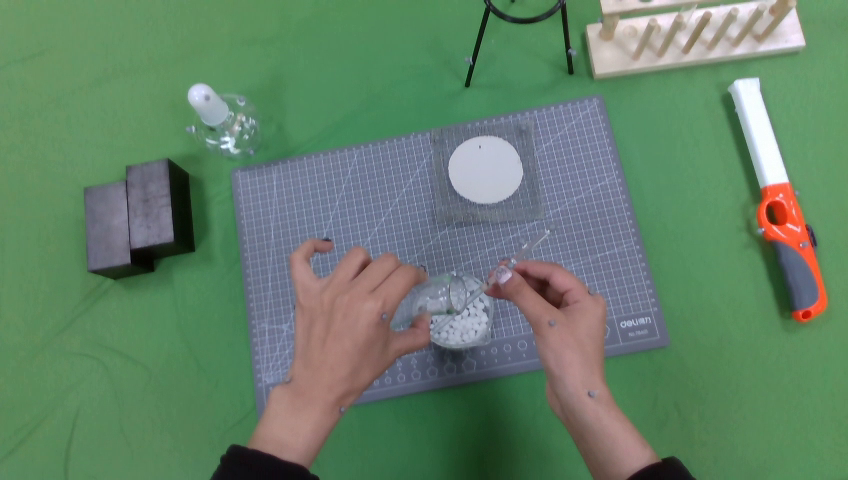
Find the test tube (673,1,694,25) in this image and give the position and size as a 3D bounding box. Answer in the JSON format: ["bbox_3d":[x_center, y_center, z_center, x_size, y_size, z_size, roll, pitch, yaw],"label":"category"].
[{"bbox_3d":[0.287,-0.274,0.640,0.017,0.151,0.017,-2,77,7],"label":"test tube"}]

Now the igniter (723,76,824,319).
[{"bbox_3d":[0.381,-0.052,0.663,0.057,0.025,0.275,-7,77,-7],"label":"igniter"}]

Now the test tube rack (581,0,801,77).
[{"bbox_3d":[0.310,-0.251,0.684,0.242,0.085,0.066,-8,76,3],"label":"test tube rack"}]

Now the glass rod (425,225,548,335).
[{"bbox_3d":[0.048,0.042,0.538,0.008,0.200,0.008,17,51,-22],"label":"glass rod"}]

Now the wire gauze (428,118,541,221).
[{"bbox_3d":[0.069,-0.081,0.701,0.125,0.011,0.121,-3,77,1],"label":"wire gauze"}]

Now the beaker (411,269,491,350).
[{"bbox_3d":[0.033,0.077,0.620,0.083,0.101,0.074,42,84,12],"label":"beaker"}]

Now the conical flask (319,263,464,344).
[{"bbox_3d":[-0.026,0.052,0.539,0.121,0.076,0.075,-8,75,28],"label":"conical flask"}]

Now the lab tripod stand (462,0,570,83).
[{"bbox_3d":[0.101,-0.245,0.674,0.148,0.132,0.147,-1,79,5],"label":"lab tripod stand"}]

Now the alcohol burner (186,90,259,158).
[{"bbox_3d":[-0.234,-0.139,0.686,0.078,0.119,0.077,-1,78,6],"label":"alcohol burner"}]

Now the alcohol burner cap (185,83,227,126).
[{"bbox_3d":[-0.237,-0.149,0.651,0.034,0.048,0.033,-2,70,5],"label":"alcohol burner cap"}]
